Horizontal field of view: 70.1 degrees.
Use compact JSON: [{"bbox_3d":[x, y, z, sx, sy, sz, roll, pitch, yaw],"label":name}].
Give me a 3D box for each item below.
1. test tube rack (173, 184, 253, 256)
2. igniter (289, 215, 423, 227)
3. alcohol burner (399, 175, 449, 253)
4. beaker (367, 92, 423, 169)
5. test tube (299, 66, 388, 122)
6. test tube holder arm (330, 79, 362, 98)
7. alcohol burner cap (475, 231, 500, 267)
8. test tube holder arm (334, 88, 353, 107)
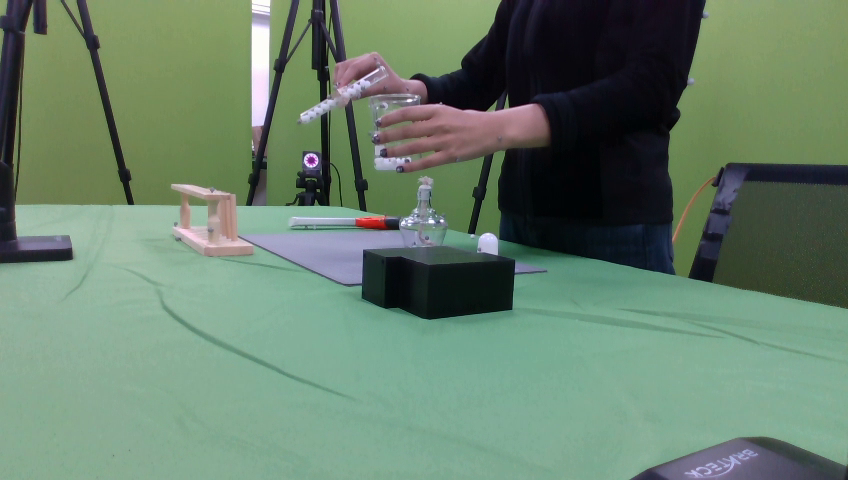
[{"bbox_3d":[-0.329,-0.036,0.927,0.067,0.085,0.241,-2,9,-32],"label":"test tube rack"},{"bbox_3d":[-0.133,-0.038,1.232,0.278,0.025,0.057,-1,-2,-25],"label":"igniter"},{"bbox_3d":[0.000,-0.041,0.936,0.078,0.119,0.078,0,8,0],"label":"alcohol burner"},{"bbox_3d":[-0.041,-0.149,0.838,0.083,0.100,0.074,1,7,30],"label":"beaker"},{"bbox_3d":[-0.117,-0.206,0.862,0.150,0.017,0.017,-25,-2,18],"label":"test tube"},{"bbox_3d":[-0.116,-0.233,0.925,0.015,0.013,0.178,-24,17,13],"label":"test tube holder arm"},{"bbox_3d":[0.088,0.012,0.830,0.034,0.048,0.034,2,7,0],"label":"alcohol burner cap"},{"bbox_3d":[-0.116,-0.211,0.885,0.015,0.010,0.087,-24,23,13],"label":"test tube holder arm"}]
